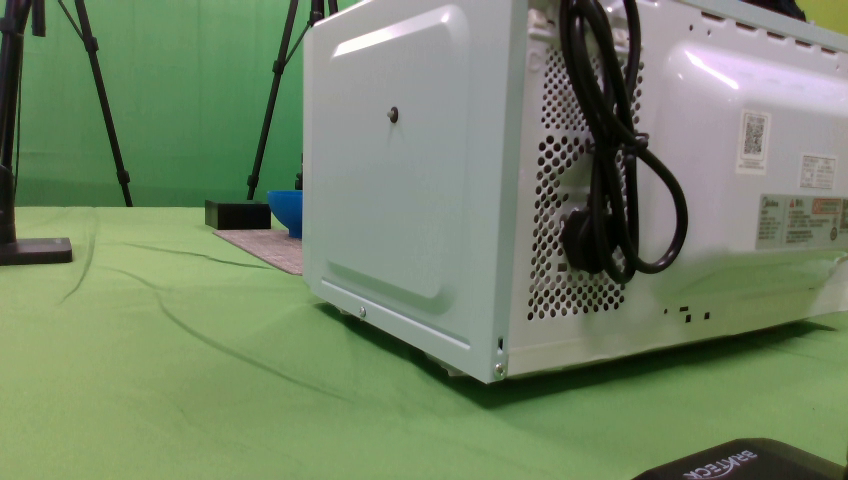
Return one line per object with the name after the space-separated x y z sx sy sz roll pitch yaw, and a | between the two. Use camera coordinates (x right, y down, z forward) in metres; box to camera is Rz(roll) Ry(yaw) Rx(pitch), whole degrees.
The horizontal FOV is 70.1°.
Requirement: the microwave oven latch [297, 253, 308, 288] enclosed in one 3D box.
-0.081 0.028 0.579 0.079 0.029 0.030 -1 7 -26 | microwave oven latch

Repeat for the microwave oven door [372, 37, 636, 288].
0.110 -0.080 0.686 0.358 0.243 0.039 -2 9 -33 | microwave oven door

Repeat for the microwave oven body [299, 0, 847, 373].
0.152 -0.055 0.542 0.444 0.260 0.324 -2 7 -33 | microwave oven body

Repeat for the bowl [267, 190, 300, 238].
-0.202 -0.046 1.069 0.151 0.077 0.151 3 7 0 | bowl
